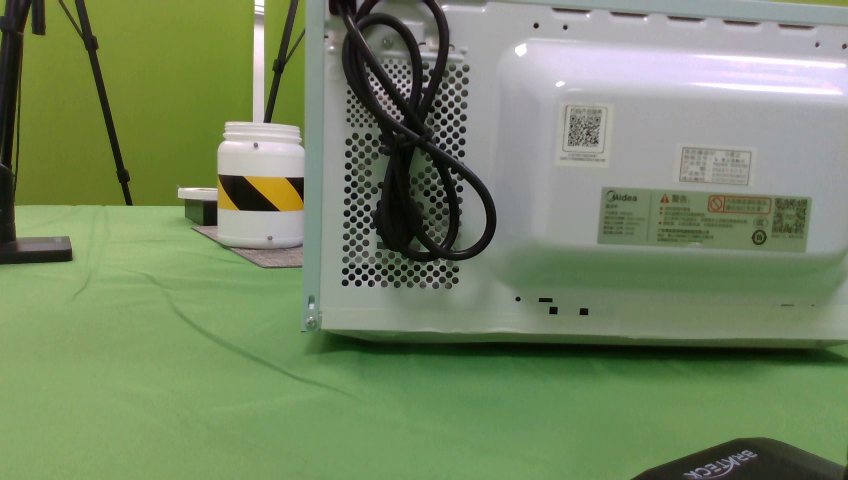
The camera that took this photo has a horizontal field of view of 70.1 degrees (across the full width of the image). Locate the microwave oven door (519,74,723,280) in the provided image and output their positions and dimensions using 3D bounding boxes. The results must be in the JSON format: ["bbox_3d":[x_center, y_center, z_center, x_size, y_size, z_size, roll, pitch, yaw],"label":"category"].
[{"bbox_3d":[0.255,-0.094,0.863,0.039,0.243,0.354,-1,8,-25],"label":"microwave oven door"}]

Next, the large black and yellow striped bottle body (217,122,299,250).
[{"bbox_3d":[-0.250,-0.084,0.931,0.131,0.184,0.130,2,7,0],"label":"large black and yellow striped bottle body"}]

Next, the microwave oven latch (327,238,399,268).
[{"bbox_3d":[-0.069,0.015,0.694,0.079,0.029,0.030,3,7,-3],"label":"microwave oven latch"}]

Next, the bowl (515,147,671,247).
[{"bbox_3d":[0.161,-0.036,0.598,0.151,0.076,0.151,7,-4,1],"label":"bowl"}]

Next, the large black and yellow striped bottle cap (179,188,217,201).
[{"bbox_3d":[-0.434,-0.093,1.226,0.115,0.019,0.115,3,9,0],"label":"large black and yellow striped bottle cap"}]

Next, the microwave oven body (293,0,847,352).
[{"bbox_3d":[0.122,-0.055,0.550,0.442,0.260,0.325,3,7,-5],"label":"microwave oven body"}]
